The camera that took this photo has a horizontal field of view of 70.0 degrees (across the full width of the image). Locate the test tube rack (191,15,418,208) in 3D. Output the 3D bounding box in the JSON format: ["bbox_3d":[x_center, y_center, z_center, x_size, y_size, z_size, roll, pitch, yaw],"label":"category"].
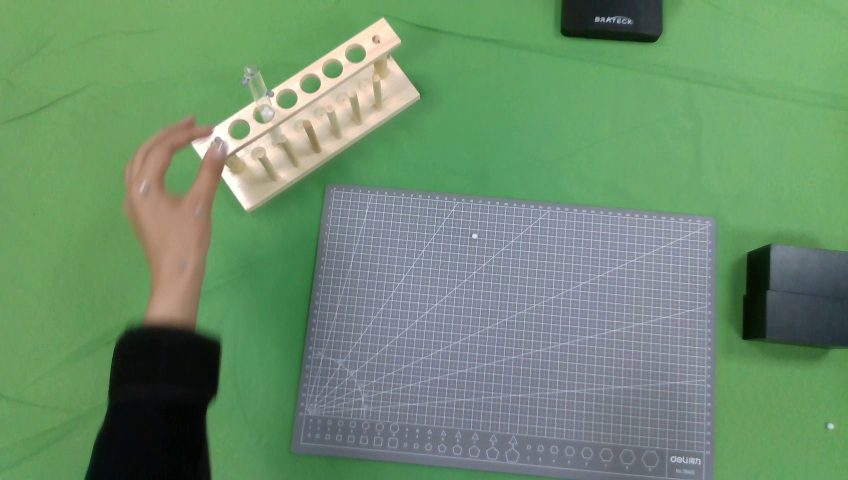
[{"bbox_3d":[-0.124,-0.139,0.674,0.242,0.085,0.066,-35,80,-6],"label":"test tube rack"}]

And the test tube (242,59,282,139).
[{"bbox_3d":[-0.164,-0.140,0.625,0.017,0.151,0.017,1,75,-4],"label":"test tube"}]
